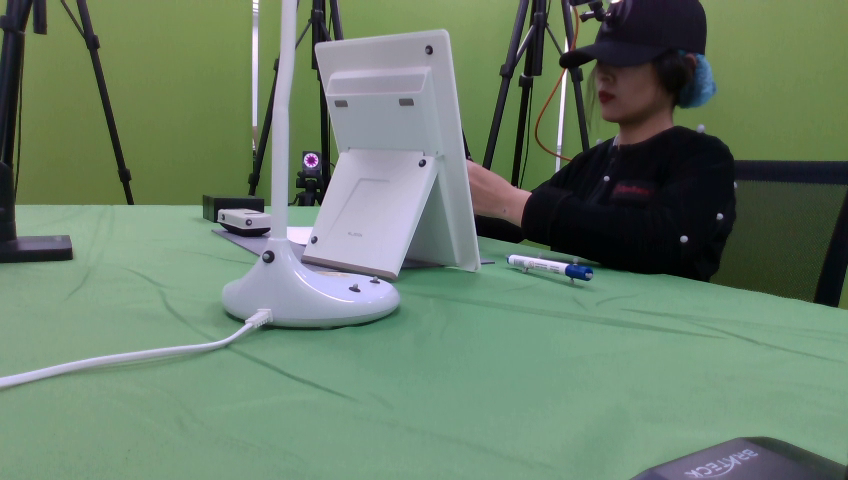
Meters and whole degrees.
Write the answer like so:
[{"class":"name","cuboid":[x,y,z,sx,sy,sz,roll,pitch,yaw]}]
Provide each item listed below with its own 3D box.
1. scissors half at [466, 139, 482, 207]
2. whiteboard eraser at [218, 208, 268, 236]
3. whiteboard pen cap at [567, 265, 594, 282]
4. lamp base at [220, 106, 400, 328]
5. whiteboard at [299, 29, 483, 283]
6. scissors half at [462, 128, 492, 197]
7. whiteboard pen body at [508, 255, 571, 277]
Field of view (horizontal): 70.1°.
[{"class":"scissors half","cuboid":[0.074,-0.129,1.053,0.013,0.175,0.040,18,46,38]},{"class":"whiteboard eraser","cuboid":[-0.309,-0.031,1.044,0.056,0.042,0.112,-2,9,-40]},{"class":"whiteboard pen cap","cuboid":[0.186,0.040,0.722,0.018,0.018,0.033,-2,6,-33]},{"class":"lamp base","cuboid":[-0.101,-0.023,0.531,0.160,0.180,0.179,4,10,10]},{"class":"whiteboard","cuboid":[-0.074,-0.082,0.742,0.216,0.305,0.144,9,29,38]},{"class":"scissors half","cuboid":[0.087,-0.142,1.062,0.012,0.040,0.176,25,-24,40]},{"class":"whiteboard pen body","cuboid":[0.155,0.034,0.772,0.017,0.017,0.140,-2,7,-31]}]
